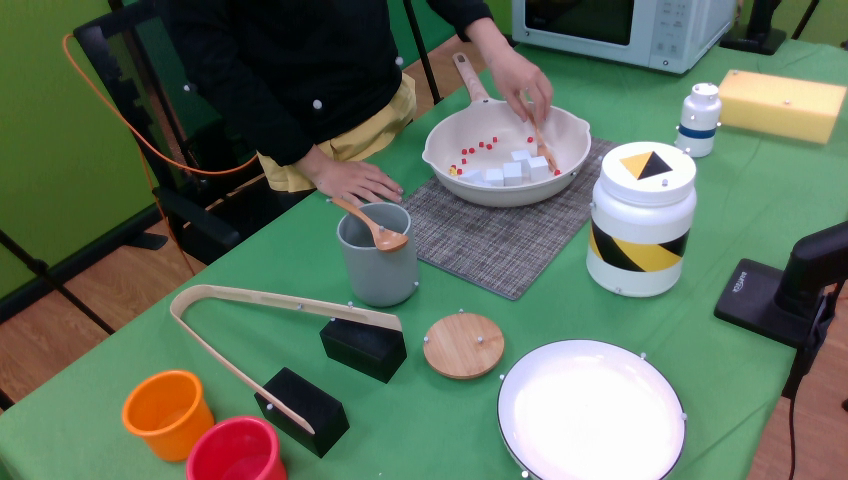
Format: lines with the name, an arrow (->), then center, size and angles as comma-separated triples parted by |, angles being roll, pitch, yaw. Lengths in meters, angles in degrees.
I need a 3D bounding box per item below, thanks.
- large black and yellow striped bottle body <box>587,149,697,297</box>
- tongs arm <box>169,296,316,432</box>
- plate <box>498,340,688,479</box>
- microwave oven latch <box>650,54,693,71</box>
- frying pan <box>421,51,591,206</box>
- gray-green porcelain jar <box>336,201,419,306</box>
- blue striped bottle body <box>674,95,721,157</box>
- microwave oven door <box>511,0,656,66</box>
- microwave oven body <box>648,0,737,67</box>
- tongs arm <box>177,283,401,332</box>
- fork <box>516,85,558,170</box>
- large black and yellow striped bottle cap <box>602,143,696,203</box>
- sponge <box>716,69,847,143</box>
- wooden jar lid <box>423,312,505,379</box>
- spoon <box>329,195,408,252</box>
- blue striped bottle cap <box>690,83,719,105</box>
large black and yellow striped bottle body -> 0.298, -0.026, 0.835 | 0.131, 0.185, 0.130 | -4, 41, 4
tongs arm -> -0.248, 0.148, 0.775 | 0.384, 0.028, 0.028 | 20, 56, 44
plate -> 0.189, 0.206, 0.692 | 0.207, 0.039, 0.206 | -4, 40, 4
microwave oven latch -> 0.531, -0.386, 1.301 | 0.078, 0.029, 0.030 | 26, 51, 33
frying pan -> 0.127, -0.232, 1.155 | 0.307, 0.103, 0.484 | -11, 49, -5
gray-green porcelain jar -> -0.064, 0.024, 0.872 | 0.106, 0.127, 0.105 | -4, 41, 4
blue striped bottle body -> 0.486, -0.213, 1.071 | 0.063, 0.121, 0.063 | -4, 41, 4
microwave oven door -> 0.350, -0.539, 1.349 | 0.353, 0.245, 0.039 | 24, 50, 31
microwave oven body -> 0.475, -0.602, 1.411 | 0.438, 0.261, 0.327 | 23, 50, 32
tongs arm -> -0.199, 0.096, 0.823 | 0.382, 0.027, 0.051 | 7, 44, 34
fork -> 0.208, -0.213, 1.134 | 0.028, 0.019, 0.206 | -16, 66, 1
large black and yellow striped bottle cap -> 0.289, -0.088, 0.779 | 0.115, 0.019, 0.114 | -5, 40, 4
sponge -> 0.663, -0.256, 1.142 | 0.205, 0.061, 0.118 | 19, 47, 28
wooden jar lid -> 0.053, 0.142, 0.800 | 0.108, 0.021, 0.108 | -4, 39, 4
spoon -> -0.082, -0.029, 0.828 | 0.042, 0.022, 0.192 | -31, 43, -21
blue striped bottle cap -> 0.481, -0.251, 1.038 | 0.044, 0.021, 0.044 | -5, 40, 5
